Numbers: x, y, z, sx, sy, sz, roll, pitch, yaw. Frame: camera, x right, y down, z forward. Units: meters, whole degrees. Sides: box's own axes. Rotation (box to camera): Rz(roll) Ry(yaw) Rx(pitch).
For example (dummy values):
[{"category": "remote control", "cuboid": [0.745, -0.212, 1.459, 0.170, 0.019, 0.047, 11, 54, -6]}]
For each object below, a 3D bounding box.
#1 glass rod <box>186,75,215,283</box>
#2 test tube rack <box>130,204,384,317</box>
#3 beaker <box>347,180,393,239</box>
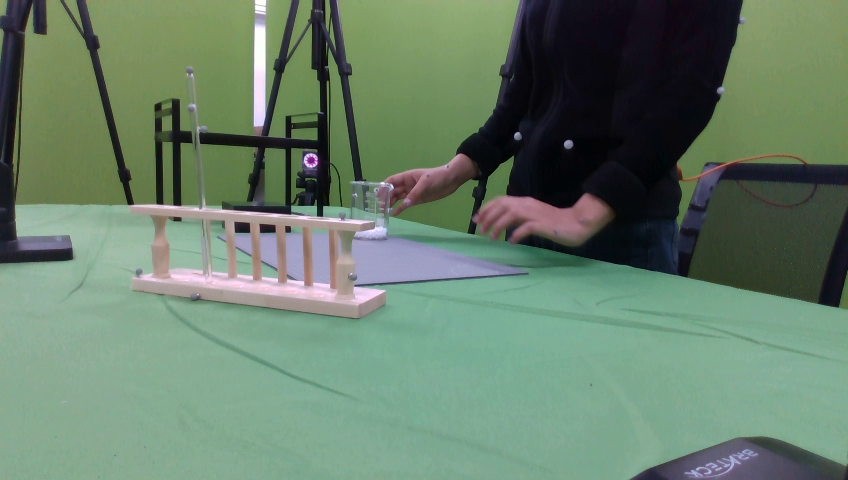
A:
[{"category": "glass rod", "cuboid": [-0.210, -0.052, 0.568, 0.008, 0.199, 0.008, -1, 15, 1]}, {"category": "test tube rack", "cuboid": [-0.162, 0.013, 0.589, 0.242, 0.085, 0.067, 4, 8, 17]}, {"category": "beaker", "cuboid": [-0.095, -0.054, 1.064, 0.084, 0.100, 0.074, 6, 9, 21]}]
